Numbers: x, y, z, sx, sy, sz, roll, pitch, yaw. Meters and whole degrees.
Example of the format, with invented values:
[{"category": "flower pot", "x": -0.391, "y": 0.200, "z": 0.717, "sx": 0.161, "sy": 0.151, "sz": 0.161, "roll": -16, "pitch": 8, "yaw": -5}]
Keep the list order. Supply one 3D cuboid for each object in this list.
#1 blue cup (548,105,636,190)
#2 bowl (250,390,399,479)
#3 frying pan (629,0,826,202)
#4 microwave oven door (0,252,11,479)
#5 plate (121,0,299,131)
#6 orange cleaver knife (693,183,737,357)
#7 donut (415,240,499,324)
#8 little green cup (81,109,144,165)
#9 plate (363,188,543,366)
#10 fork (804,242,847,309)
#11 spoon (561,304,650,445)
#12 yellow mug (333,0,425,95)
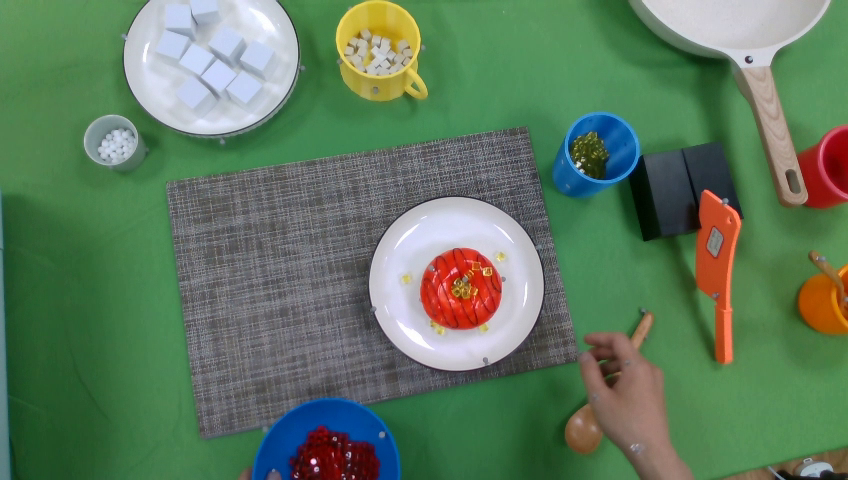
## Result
[{"category": "blue cup", "x": 0.191, "y": -0.101, "z": 0.722, "sx": 0.093, "sy": 0.100, "sz": 0.092, "roll": 1, "pitch": 79, "yaw": -5}, {"category": "bowl", "x": -0.105, "y": 0.239, "z": 0.657, "sx": 0.151, "sy": 0.077, "sz": 0.150, "roll": 2, "pitch": 78, "yaw": -7}, {"category": "frying pan", "x": 0.393, "y": -0.278, "z": 0.763, "sx": 0.307, "sy": 0.103, "sz": 0.484, "roll": -5, "pitch": 74, "yaw": -4}, {"category": "microwave oven door", "x": -0.462, "y": 0.159, "z": 0.542, "sx": 0.039, "sy": 0.244, "sz": 0.354, "roll": -7, "pitch": 82, "yaw": -5}, {"category": "plate", "x": -0.256, "y": -0.229, "z": 0.739, "sx": 0.208, "sy": 0.039, "sz": 0.207, "roll": 1, "pitch": 81, "yaw": -4}, {"category": "orange cleaver knife", "x": 0.343, "y": 0.038, "z": 0.723, "sx": 0.012, "sy": 0.076, "sz": 0.212, "roll": -11, "pitch": 111, "yaw": -6}, {"category": "donut", "x": 0.038, "y": 0.050, "z": 0.704, "sx": 0.099, "sy": 0.048, "sz": 0.099, "roll": 0, "pitch": 85, "yaw": -4}, {"category": "little green cup", "x": -0.363, "y": -0.118, "z": 0.712, "sx": 0.061, "sy": 0.038, "sz": 0.061, "roll": 1, "pitch": 82, "yaw": -5}, {"category": "plate", "x": 0.034, "y": 0.044, "z": 0.716, "sx": 0.209, "sy": 0.038, "sz": 0.208, "roll": 1, "pitch": 82, "yaw": -4}, {"category": "fork", "x": 0.469, "y": 0.043, "z": 0.697, "sx": 0.209, "sy": 0.018, "sz": 0.028, "roll": 29, "pitch": 76, "yaw": -44}, {"category": "spoon", "x": 0.224, "y": 0.157, "z": 0.725, "sx": 0.041, "sy": 0.022, "sz": 0.193, "roll": 31, "pitch": 80, "yaw": 18}, {"category": "yellow mug", "x": -0.048, "y": -0.228, "z": 0.741, "sx": 0.131, "sy": 0.064, "sz": 0.100, "roll": 42, "pitch": 80, "yaw": 2}]
